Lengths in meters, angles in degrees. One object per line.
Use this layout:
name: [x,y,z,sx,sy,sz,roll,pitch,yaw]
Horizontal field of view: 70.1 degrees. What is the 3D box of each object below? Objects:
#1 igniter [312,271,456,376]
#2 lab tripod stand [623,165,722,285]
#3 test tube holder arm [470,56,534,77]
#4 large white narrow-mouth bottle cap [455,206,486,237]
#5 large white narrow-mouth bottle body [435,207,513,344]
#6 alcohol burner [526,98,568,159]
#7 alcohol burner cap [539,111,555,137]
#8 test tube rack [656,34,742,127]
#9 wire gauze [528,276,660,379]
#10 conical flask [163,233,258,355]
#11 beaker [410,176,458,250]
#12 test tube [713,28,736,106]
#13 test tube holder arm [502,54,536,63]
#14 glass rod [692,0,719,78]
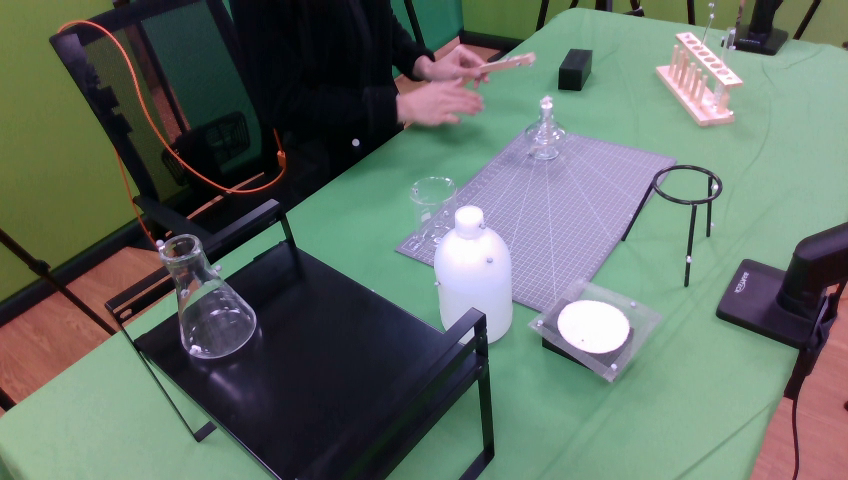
igniter: [-0.068,0.111,0.859,0.274,0.025,0.057,27,61,34]
lab tripod stand: [0.365,-0.030,0.875,0.148,0.132,0.147,-6,41,6]
test tube holder arm: [0.144,-0.328,1.147,0.013,0.015,0.177,-36,23,-25]
large white narrow-mouth bottle cap: [0.056,-0.023,0.734,0.038,0.024,0.037,-4,41,4]
large white narrow-mouth bottle body: [0.065,0.041,0.791,0.102,0.195,0.101,-4,41,4]
alcohol burner: [0.228,-0.210,1.118,0.078,0.119,0.077,-5,43,5]
alcohol burner cap: [0.243,-0.232,1.197,0.034,0.048,0.033,-5,40,4]
test tube rack: [0.553,-0.331,1.233,0.067,0.085,0.241,-7,40,2]
wire gauze: [0.214,0.103,0.763,0.124,0.011,0.122,30,52,35]
conical flask: [-0.217,0.051,0.601,0.075,0.122,0.075,-4,40,4]
beaker: [0.022,-0.041,0.964,0.073,0.101,0.084,28,51,35]
test tube: [0.570,-0.325,1.149,0.017,0.151,0.017,-4,36,4]
test tube holder arm: [0.172,-0.327,1.112,0.010,0.015,0.087,-36,23,-25]
glass rod: [0.561,-0.401,1.214,0.008,0.200,0.008,-1,48,2]
